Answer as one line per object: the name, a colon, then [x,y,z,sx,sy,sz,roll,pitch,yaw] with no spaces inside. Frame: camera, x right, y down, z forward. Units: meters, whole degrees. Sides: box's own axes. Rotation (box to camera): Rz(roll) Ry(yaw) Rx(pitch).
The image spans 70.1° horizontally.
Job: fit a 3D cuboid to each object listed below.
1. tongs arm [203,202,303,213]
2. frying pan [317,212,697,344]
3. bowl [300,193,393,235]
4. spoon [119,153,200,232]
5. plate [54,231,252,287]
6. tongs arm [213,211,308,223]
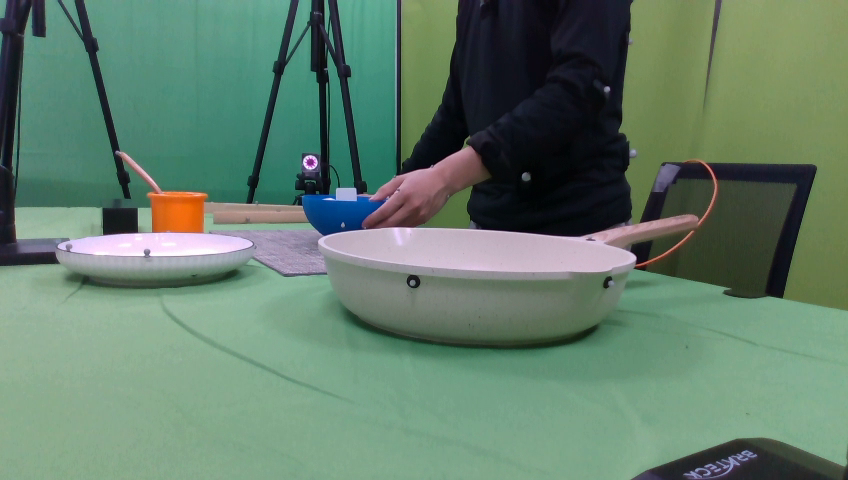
tongs arm: [-0.311,-0.069,1.417,0.387,0.026,0.050,0,8,-24]
frying pan: [0.133,0.013,0.629,0.490,0.102,0.305,-12,14,-31]
bowl: [-0.128,-0.034,0.995,0.151,0.077,0.151,3,7,0]
spoon: [-0.439,-0.077,1.000,0.021,0.193,0.042,-43,-7,21]
plate: [-0.309,0.020,0.705,0.208,0.039,0.207,2,7,0]
tongs arm: [-0.274,-0.054,1.347,0.390,0.028,0.028,-3,7,-36]
